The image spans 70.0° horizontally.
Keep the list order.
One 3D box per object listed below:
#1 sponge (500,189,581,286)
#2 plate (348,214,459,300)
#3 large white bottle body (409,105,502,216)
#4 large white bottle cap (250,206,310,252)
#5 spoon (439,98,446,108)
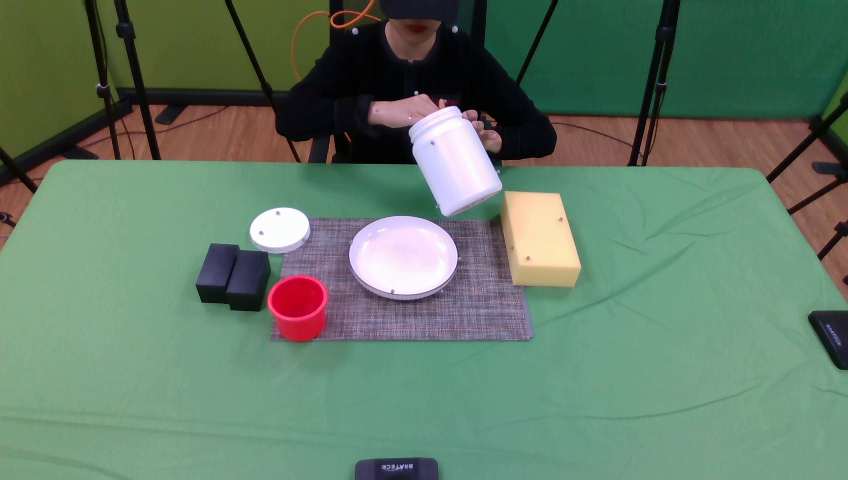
[{"bbox_3d":[0.224,-0.007,1.192,0.118,0.061,0.205,1,47,-6],"label":"sponge"},{"bbox_3d":[-0.040,0.034,1.146,0.209,0.038,0.208,2,47,-2],"label":"plate"},{"bbox_3d":[0.057,-0.154,1.172,0.130,0.130,0.184,-25,88,-24],"label":"large white bottle body"},{"bbox_3d":[-0.284,-0.023,1.197,0.115,0.018,0.114,1,46,0],"label":"large white bottle cap"},{"bbox_3d":[0.058,-0.189,1.171,0.042,0.022,0.193,-12,72,-17],"label":"spoon"}]
